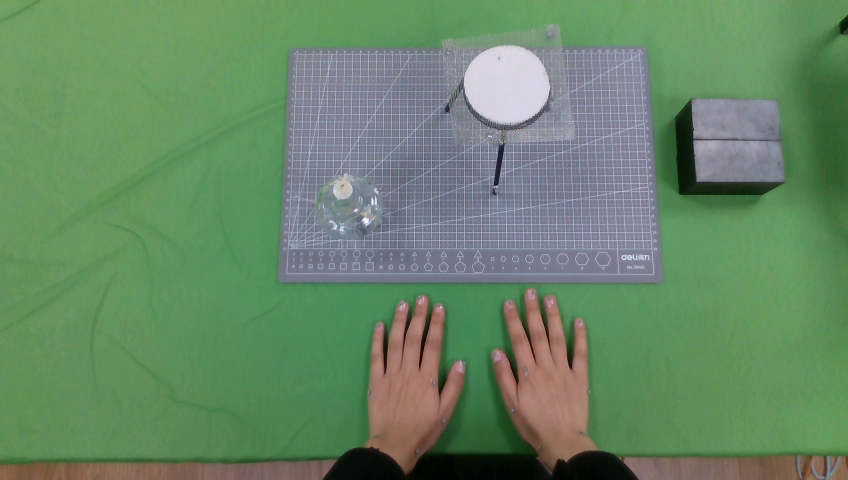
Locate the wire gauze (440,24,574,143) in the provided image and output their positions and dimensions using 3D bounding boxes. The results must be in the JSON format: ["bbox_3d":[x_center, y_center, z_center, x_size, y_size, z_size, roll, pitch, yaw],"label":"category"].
[{"bbox_3d":[0.083,-0.157,0.612,0.125,0.011,0.121,-5,79,-1],"label":"wire gauze"}]

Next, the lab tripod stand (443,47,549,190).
[{"bbox_3d":[0.087,-0.146,0.678,0.148,0.132,0.147,0,77,1],"label":"lab tripod stand"}]

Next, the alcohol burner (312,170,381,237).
[{"bbox_3d":[-0.088,-0.046,0.671,0.078,0.119,0.077,0,77,-1],"label":"alcohol burner"}]
